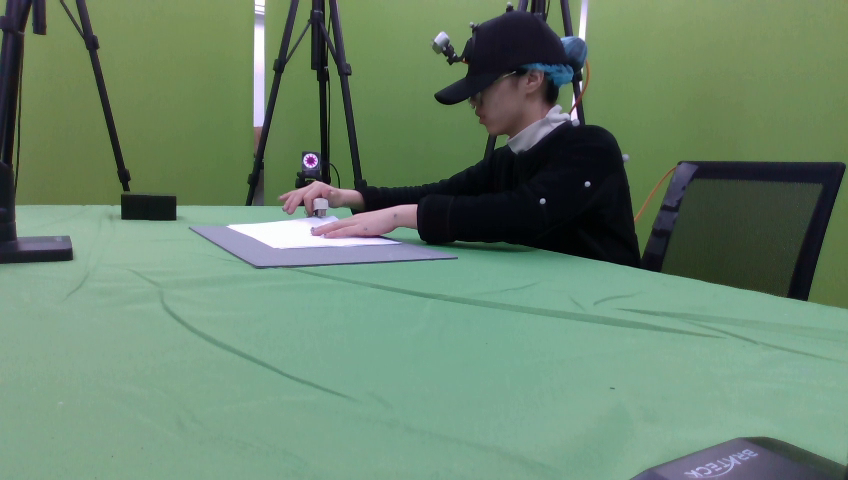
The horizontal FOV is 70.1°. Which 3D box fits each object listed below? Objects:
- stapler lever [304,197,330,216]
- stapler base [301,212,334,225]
[{"bbox_3d":[-0.225,-0.071,1.267,0.027,0.040,0.117,1,4,-25],"label":"stapler lever"},{"bbox_3d":[-0.225,-0.046,1.267,0.041,0.024,0.130,1,3,-25],"label":"stapler base"}]
